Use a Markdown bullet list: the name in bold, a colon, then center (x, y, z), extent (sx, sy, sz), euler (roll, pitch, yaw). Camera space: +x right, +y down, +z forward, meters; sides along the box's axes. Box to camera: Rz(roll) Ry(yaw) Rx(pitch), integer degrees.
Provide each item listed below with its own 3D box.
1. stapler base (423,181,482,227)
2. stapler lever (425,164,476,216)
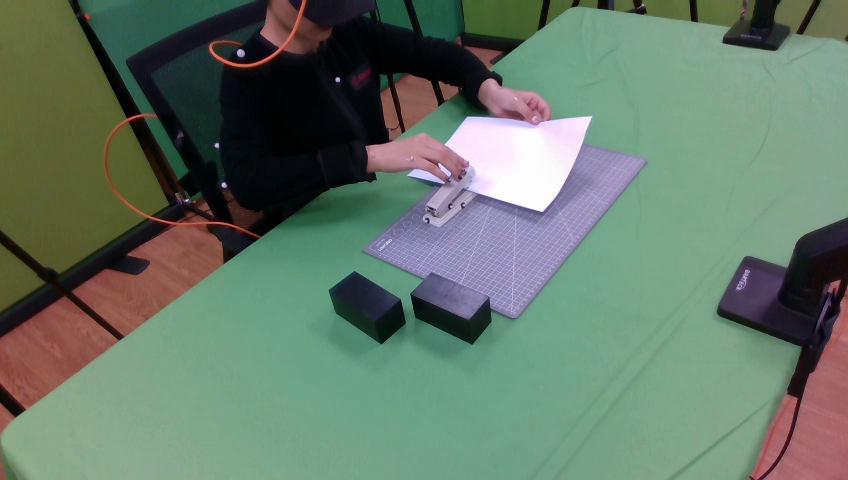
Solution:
- **stapler base**: center (0.051, -0.071, 1.052), extent (0.041, 0.024, 0.131), euler (22, 51, 35)
- **stapler lever**: center (0.047, -0.089, 1.035), extent (0.026, 0.040, 0.118), euler (22, 51, 35)
